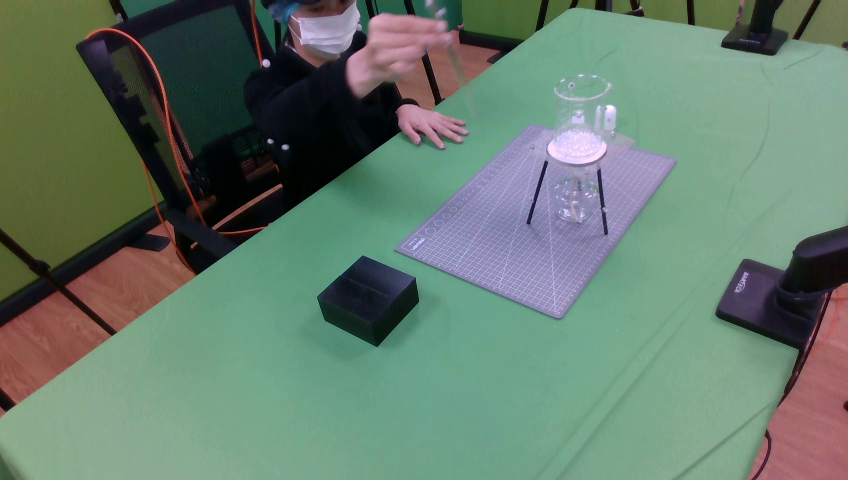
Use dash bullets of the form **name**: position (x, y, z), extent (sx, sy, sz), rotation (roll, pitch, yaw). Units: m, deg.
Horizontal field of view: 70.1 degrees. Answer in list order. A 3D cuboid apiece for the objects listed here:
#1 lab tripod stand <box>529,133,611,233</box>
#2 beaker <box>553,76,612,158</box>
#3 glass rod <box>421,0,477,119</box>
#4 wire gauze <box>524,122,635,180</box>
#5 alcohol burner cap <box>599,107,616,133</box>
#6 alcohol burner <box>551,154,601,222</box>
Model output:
- **lab tripod stand**: position (0.236, -0.089, 0.953), extent (0.148, 0.132, 0.147), rotation (-5, 42, 5)
- **beaker**: position (0.230, -0.178, 0.882), extent (0.084, 0.101, 0.073), rotation (-9, 41, 1)
- **glass rod**: position (0.029, -0.219, 0.719), extent (0.008, 0.201, 0.008), rotation (-15, 47, 17)
- **wire gauze**: position (0.233, -0.142, 0.913), extent (0.122, 0.011, 0.124), rotation (-31, 43, -26)
- **alcohol burner cap**: position (0.361, -0.239, 1.188), extent (0.034, 0.048, 0.033), rotation (-4, 40, 4)
- **alcohol burner**: position (0.244, -0.087, 0.966), extent (0.078, 0.119, 0.077), rotation (-3, 40, 3)
